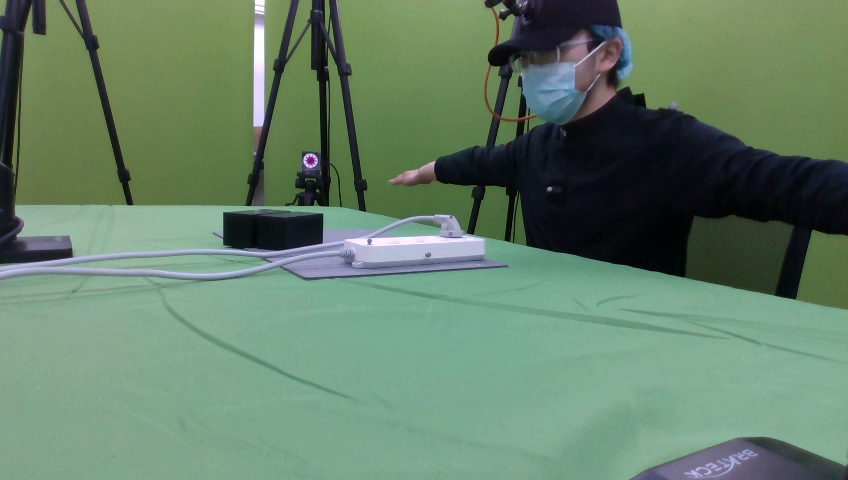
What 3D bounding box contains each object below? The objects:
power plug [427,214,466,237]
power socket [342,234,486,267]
[{"bbox_3d":[0.034,-0.013,0.911,0.035,0.052,0.072,-2,3,-25],"label":"power plug"},{"bbox_3d":[-0.010,0.012,0.845,0.228,0.032,0.072,-3,9,-36],"label":"power socket"}]
